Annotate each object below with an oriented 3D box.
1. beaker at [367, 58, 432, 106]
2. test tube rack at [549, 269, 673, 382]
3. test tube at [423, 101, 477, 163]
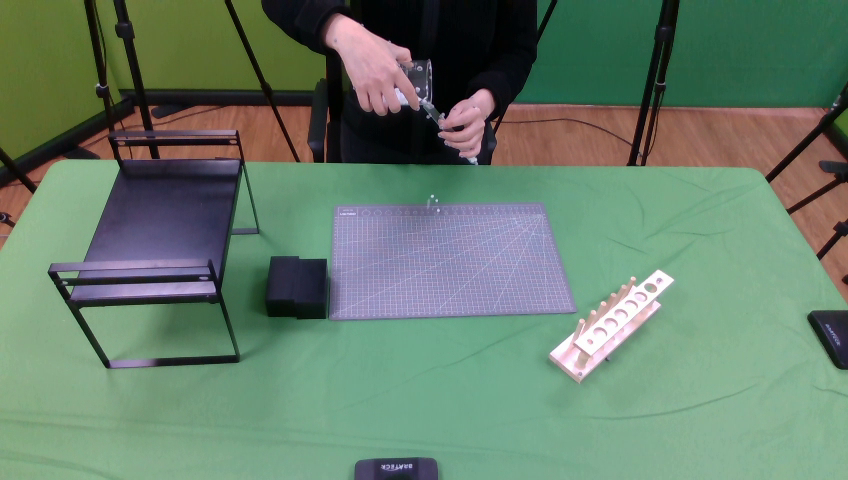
[{"bbox_3d":[-0.040,-0.252,0.980,0.100,0.084,0.073,-1,49,-5],"label":"beaker"},{"bbox_3d":[0.325,0.134,1.047,0.242,0.085,0.066,-32,56,-30],"label":"test tube rack"},{"bbox_3d":[0.048,-0.185,1.054,0.017,0.151,0.017,-28,38,25],"label":"test tube"}]
